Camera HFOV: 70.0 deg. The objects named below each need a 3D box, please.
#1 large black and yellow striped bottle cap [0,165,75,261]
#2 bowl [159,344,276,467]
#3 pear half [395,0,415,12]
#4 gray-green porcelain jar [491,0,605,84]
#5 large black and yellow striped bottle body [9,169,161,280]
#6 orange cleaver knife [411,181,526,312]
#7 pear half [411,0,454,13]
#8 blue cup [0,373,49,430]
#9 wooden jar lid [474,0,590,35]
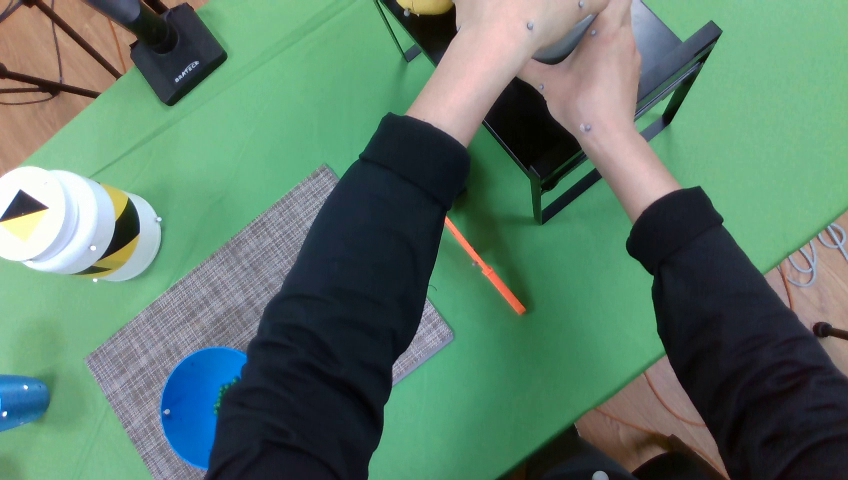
[{"bbox_3d":[-0.475,-0.033,0.725,0.115,0.019,0.114,-1,83,11],"label":"large black and yellow striped bottle cap"},{"bbox_3d":[-0.253,0.210,0.788,0.151,0.077,0.151,-1,82,10],"label":"bowl"},{"bbox_3d":[-0.024,-0.274,0.624,0.031,0.088,0.070,-5,85,9],"label":"pear half"},{"bbox_3d":[0.115,-0.215,0.573,0.105,0.127,0.105,-2,82,11],"label":"gray-green porcelain jar"},{"bbox_3d":[-0.460,-0.019,0.807,0.130,0.185,0.130,-2,81,10],"label":"large black and yellow striped bottle body"},{"bbox_3d":[0.055,0.009,0.760,0.012,0.076,0.212,-41,107,-1],"label":"orange cleaver knife"},{"bbox_3d":[0.009,-0.277,0.609,0.056,0.110,0.076,-5,86,10],"label":"pear half"},{"bbox_3d":[-0.583,0.222,0.839,0.092,0.100,0.092,-1,82,9],"label":"blue cup"},{"bbox_3d":[0.091,-0.221,0.503,0.108,0.021,0.108,-1,86,12],"label":"wooden jar lid"}]
